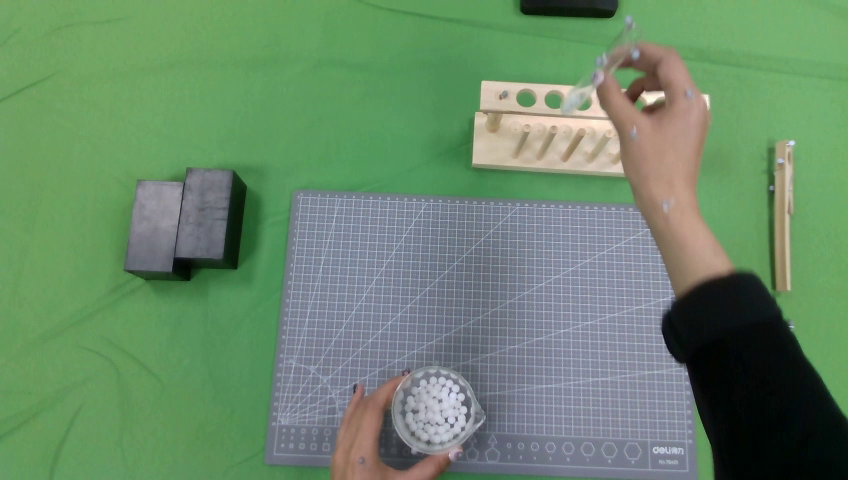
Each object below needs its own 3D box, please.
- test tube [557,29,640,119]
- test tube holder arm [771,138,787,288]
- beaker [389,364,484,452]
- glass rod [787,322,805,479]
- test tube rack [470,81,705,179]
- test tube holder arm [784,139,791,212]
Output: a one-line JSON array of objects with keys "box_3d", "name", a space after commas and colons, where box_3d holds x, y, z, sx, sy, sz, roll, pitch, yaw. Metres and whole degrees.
[{"box_3d": [0.141, -0.132, 0.506, 0.017, 0.150, 0.017, 1, 81, -6], "name": "test tube"}, {"box_3d": [0.407, -0.033, 0.693, 0.013, 0.015, 0.177, 17, 74, -26], "name": "test tube holder arm"}, {"box_3d": [0.013, 0.157, 0.571, 0.084, 0.101, 0.073, 8, 76, 4], "name": "beaker"}, {"box_3d": [0.398, 0.187, 0.647, 0.008, 0.008, 0.198, 4, 76, 0], "name": "glass rod"}, {"box_3d": [0.177, -0.122, 0.681, 0.242, 0.085, 0.066, 4, 76, 0], "name": "test tube rack"}, {"box_3d": [0.419, -0.075, 0.707, 0.010, 0.015, 0.087, 17, 74, -26], "name": "test tube holder arm"}]
